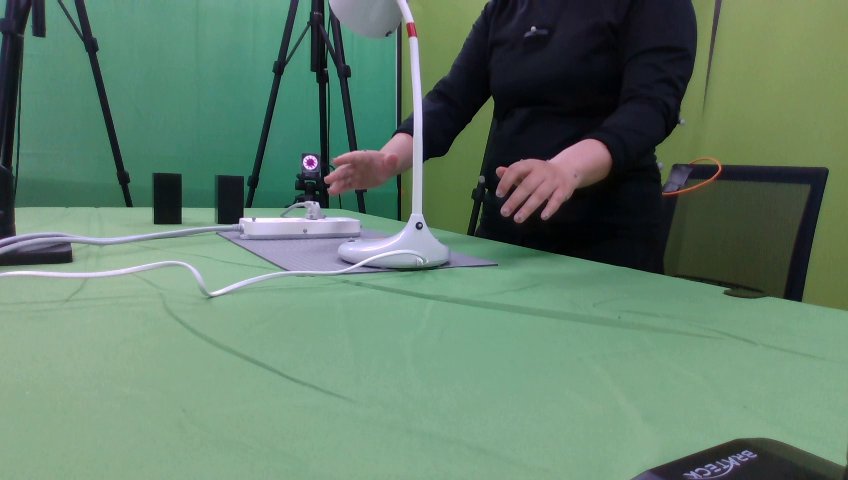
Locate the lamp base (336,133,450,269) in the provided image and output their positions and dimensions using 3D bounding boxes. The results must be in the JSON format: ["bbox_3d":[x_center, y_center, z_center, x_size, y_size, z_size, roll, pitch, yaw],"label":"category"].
[{"bbox_3d":[-0.032,-0.057,0.830,0.161,0.180,0.178,-2,11,-34],"label":"lamp base"}]

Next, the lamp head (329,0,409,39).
[{"bbox_3d":[-0.062,-0.357,0.841,0.113,0.112,0.122,-1,-14,-29],"label":"lamp head"}]

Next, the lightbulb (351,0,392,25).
[{"bbox_3d":[-0.069,-0.354,0.866,0.060,0.059,0.107,0,-20,-21],"label":"lightbulb"}]

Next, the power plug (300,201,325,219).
[{"bbox_3d":[-0.207,-0.046,1.121,0.035,0.052,0.072,-1,6,-22],"label":"power plug"}]

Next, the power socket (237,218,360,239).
[{"bbox_3d":[-0.220,-0.023,1.080,0.228,0.032,0.072,-2,7,-33],"label":"power socket"}]
